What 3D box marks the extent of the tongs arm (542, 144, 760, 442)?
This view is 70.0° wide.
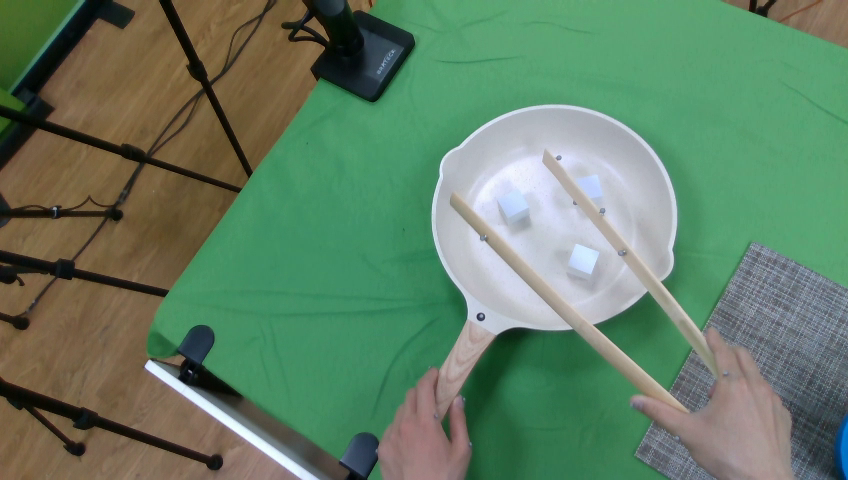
[{"bbox_3d":[0.219,0.033,0.649,0.051,0.027,0.380,-21,57,-20],"label":"tongs arm"}]

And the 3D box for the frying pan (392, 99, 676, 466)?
[{"bbox_3d":[0.101,0.049,0.729,0.305,0.103,0.486,29,71,17],"label":"frying pan"}]

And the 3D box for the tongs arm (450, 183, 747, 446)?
[{"bbox_3d":[0.155,0.062,0.624,0.028,0.028,0.384,-29,60,-28],"label":"tongs arm"}]

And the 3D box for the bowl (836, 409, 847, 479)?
[{"bbox_3d":[0.495,0.221,0.622,0.151,0.077,0.150,-3,73,8],"label":"bowl"}]
